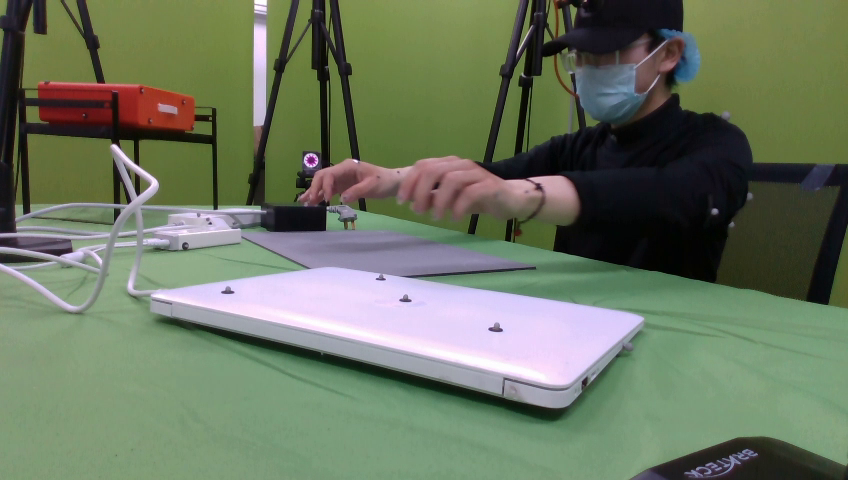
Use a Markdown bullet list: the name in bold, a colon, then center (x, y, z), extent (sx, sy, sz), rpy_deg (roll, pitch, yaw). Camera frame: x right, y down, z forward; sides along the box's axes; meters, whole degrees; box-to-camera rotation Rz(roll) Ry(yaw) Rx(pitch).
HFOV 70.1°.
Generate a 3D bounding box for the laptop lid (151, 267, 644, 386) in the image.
- **laptop lid**: center (-0.018, 0.054, 0.507), extent (0.355, 0.013, 0.243), rpy_deg (7, 6, 31)

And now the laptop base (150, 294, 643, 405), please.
- **laptop base**: center (-0.019, 0.066, 0.506), extent (0.353, 0.023, 0.236), rpy_deg (6, 5, 30)

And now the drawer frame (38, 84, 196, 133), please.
- **drawer frame**: center (-0.612, -0.265, 1.229), extent (0.213, 0.082, 0.202), rpy_deg (3, 8, 7)

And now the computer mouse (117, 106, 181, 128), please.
- **computer mouse**: center (-0.566, -0.252, 1.242), extent (0.062, 0.041, 0.118), rpy_deg (18, 26, 42)

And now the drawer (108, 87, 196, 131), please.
- **drawer**: center (-0.609, -0.264, 1.229), extent (0.211, 0.073, 0.194), rpy_deg (3, 8, 9)

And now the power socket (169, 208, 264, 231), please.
- **power socket**: center (-0.381, -0.038, 1.128), extent (0.072, 0.032, 0.227), rpy_deg (4, 8, 16)

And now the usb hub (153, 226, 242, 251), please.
- **usb hub**: center (-0.337, -0.003, 0.907), extent (0.049, 0.025, 0.125), rpy_deg (6, 9, 28)

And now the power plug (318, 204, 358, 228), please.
- **power plug**: center (-0.169, -0.044, 1.207), extent (0.072, 0.052, 0.035), rpy_deg (-11, -12, -1)

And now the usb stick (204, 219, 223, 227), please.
- **usb stick**: center (-0.346, -0.018, 1.011), extent (0.021, 0.027, 0.059), rpy_deg (-44, -1, -8)
